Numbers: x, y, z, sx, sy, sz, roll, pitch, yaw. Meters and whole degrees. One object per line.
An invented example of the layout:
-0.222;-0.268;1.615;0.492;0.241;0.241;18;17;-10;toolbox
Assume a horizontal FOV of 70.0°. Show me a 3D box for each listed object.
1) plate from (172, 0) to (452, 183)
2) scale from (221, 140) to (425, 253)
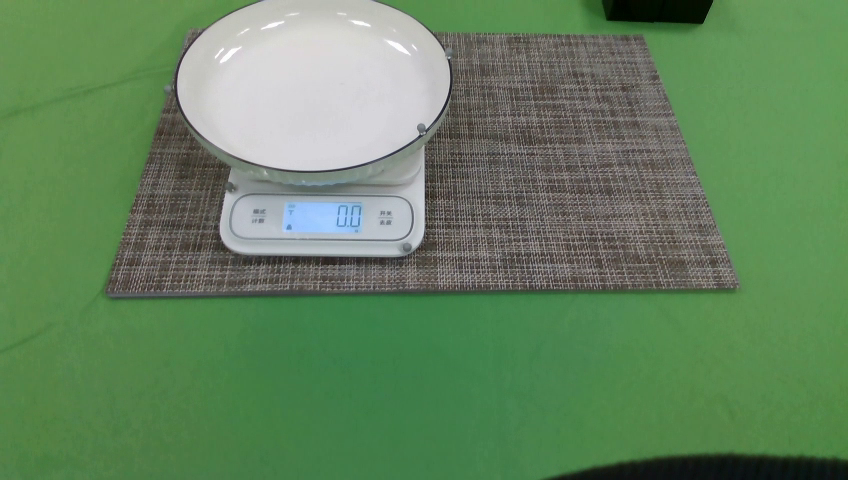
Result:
-0.082;-0.120;0.472;0.208;0.039;0.205;2;55;-3;plate
-0.073;-0.079;0.483;0.149;0.032;0.199;1;55;-2;scale
